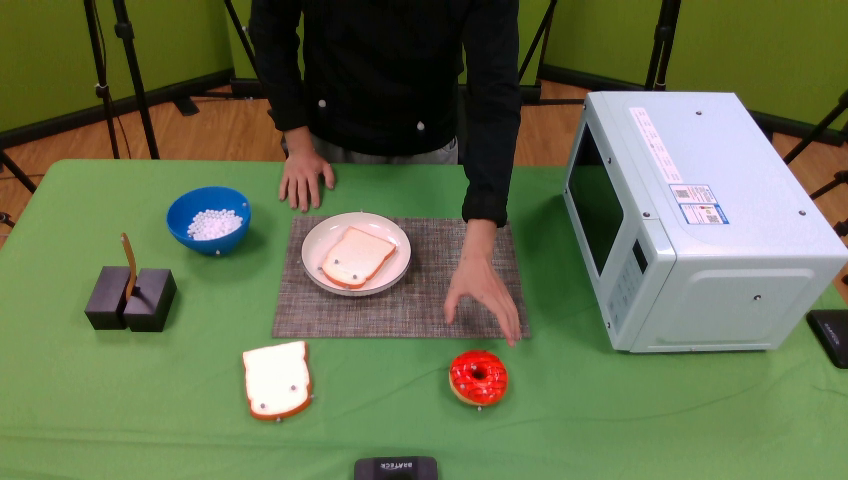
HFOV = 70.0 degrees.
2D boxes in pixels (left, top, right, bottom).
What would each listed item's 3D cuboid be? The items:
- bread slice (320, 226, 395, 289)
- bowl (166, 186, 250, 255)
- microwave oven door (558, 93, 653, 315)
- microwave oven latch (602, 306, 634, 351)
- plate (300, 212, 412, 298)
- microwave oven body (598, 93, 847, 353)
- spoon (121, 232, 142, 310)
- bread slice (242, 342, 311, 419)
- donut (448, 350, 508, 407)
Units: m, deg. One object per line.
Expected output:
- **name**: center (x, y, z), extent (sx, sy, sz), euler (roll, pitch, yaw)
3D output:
- **bread slice**: center (-0.129, 0.036, 1.140), extent (0.107, 0.018, 0.134), euler (19, 48, 14)
- **bowl**: center (-0.403, -0.024, 1.154), extent (0.151, 0.077, 0.150), euler (2, 46, -2)
- **microwave oven door**: center (0.327, -0.074, 1.123), extent (0.039, 0.245, 0.353), euler (0, 46, -5)
- **microwave oven latch**: center (0.332, 0.153, 1.044), extent (0.030, 0.029, 0.078), euler (-1, 45, -4)
- **plate**: center (-0.127, 0.031, 1.145), extent (0.208, 0.039, 0.206), euler (2, 46, -2)
- **microwave oven body**: center (0.475, -0.041, 1.109), extent (0.326, 0.261, 0.438), euler (-1, 45, -4)
- **spoon**: center (-0.479, 0.051, 0.994), extent (0.022, 0.194, 0.041), euler (13, 46, -11)
- **bread slice**: center (-0.234, 0.223, 0.970), extent (0.105, 0.019, 0.130), euler (-10, 46, -12)
- **donut**: center (0.087, 0.223, 0.977), extent (0.099, 0.048, 0.098), euler (4, 45, -4)
